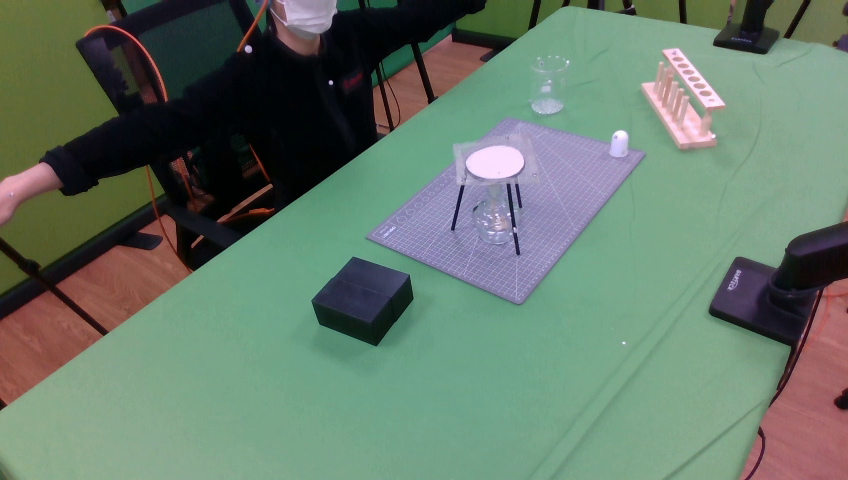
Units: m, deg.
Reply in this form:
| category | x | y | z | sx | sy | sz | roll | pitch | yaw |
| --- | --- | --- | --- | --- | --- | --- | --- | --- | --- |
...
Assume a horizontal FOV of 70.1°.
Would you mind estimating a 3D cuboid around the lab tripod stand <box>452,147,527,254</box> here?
| category | x | y | z | sx | sy | sz | roll | pitch | yaw |
| --- | --- | --- | --- | --- | --- | --- | --- | --- | --- |
| lab tripod stand | 0.111 | -0.066 | 0.943 | 0.148 | 0.132 | 0.147 | -5 | 42 | 5 |

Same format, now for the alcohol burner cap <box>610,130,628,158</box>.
| category | x | y | z | sx | sy | sz | roll | pitch | yaw |
| --- | --- | --- | --- | --- | --- | --- | --- | --- | --- |
| alcohol burner cap | 0.359 | -0.177 | 1.106 | 0.034 | 0.048 | 0.033 | -5 | 41 | 5 |

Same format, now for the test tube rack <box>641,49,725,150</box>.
| category | x | y | z | sx | sy | sz | roll | pitch | yaw |
| --- | --- | --- | --- | --- | --- | --- | --- | --- | --- |
| test tube rack | 0.495 | -0.279 | 1.175 | 0.067 | 0.085 | 0.241 | -5 | 41 | 3 |

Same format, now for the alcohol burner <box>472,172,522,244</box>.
| category | x | y | z | sx | sy | sz | roll | pitch | yaw |
| --- | --- | --- | --- | --- | --- | --- | --- | --- | --- |
| alcohol burner | 0.112 | -0.053 | 0.942 | 0.078 | 0.119 | 0.077 | -6 | 40 | 6 |

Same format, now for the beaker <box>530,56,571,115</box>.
| category | x | y | z | sx | sy | sz | roll | pitch | yaw |
| --- | --- | --- | --- | --- | --- | --- | --- | --- | --- |
| beaker | 0.259 | -0.316 | 1.244 | 0.084 | 0.101 | 0.073 | -12 | 41 | -5 |

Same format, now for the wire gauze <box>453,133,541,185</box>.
| category | x | y | z | sx | sy | sz | roll | pitch | yaw |
| --- | --- | --- | --- | --- | --- | --- | --- | --- | --- |
| wire gauze | 0.105 | -0.120 | 0.902 | 0.125 | 0.011 | 0.121 | -5 | 41 | 6 |
